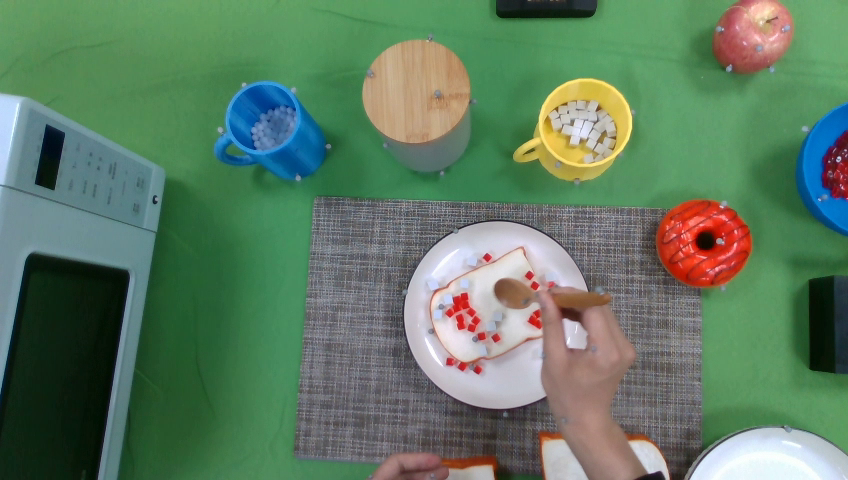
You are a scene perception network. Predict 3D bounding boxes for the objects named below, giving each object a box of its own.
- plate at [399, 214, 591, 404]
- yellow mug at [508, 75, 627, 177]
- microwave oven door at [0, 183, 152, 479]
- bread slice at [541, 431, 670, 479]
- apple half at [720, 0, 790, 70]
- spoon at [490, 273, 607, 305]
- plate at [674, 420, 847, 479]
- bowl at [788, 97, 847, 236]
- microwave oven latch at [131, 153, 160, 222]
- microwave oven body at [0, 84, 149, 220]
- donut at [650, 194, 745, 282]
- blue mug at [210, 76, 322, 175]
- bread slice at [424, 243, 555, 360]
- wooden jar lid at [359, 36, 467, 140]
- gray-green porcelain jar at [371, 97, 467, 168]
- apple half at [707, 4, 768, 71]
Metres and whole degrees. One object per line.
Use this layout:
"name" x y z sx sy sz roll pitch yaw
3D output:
"plate" 0.078 0.075 0.676 0.207 0.039 0.207 -1 83 5
"yellow mug" 0.157 -0.121 0.684 0.131 0.064 0.099 -21 82 3
"microwave oven door" -0.369 0.140 0.587 0.039 0.244 0.354 5 83 6
"bread slice" 0.191 0.254 0.621 0.135 0.018 0.106 -3 79 -15
"apple half" 0.371 -0.236 0.677 0.053 0.075 0.080 -29 77 -5
"spoon" 0.111 0.050 0.571 0.021 0.193 0.042 -37 99 -15
"plate" 0.356 0.292 0.629 0.209 0.038 0.208 -1 83 5
"bowl" 0.457 -0.070 0.647 0.151 0.077 0.151 -1 83 5
"microwave oven latch" -0.333 -0.062 0.712 0.030 0.029 0.079 8 84 5
"microwave oven body" -0.508 0.084 0.610 0.326 0.261 0.440 6 84 5
"donut" 0.298 -0.002 0.664 0.099 0.048 0.099 -1 83 5
"blue mug" -0.185 -0.121 0.692 0.116 0.106 0.082 -23 81 2
"bread slice" 0.068 0.076 0.677 0.131 0.019 0.104 -24 81 1
"wooden jar lid" -0.011 -0.151 0.608 0.108 0.021 0.108 -1 81 5
"gray-green porcelain jar" -0.005 -0.141 0.670 0.106 0.127 0.105 -1 82 5
"apple half" 0.338 -0.216 0.676 0.033 0.081 0.081 -30 81 -4
